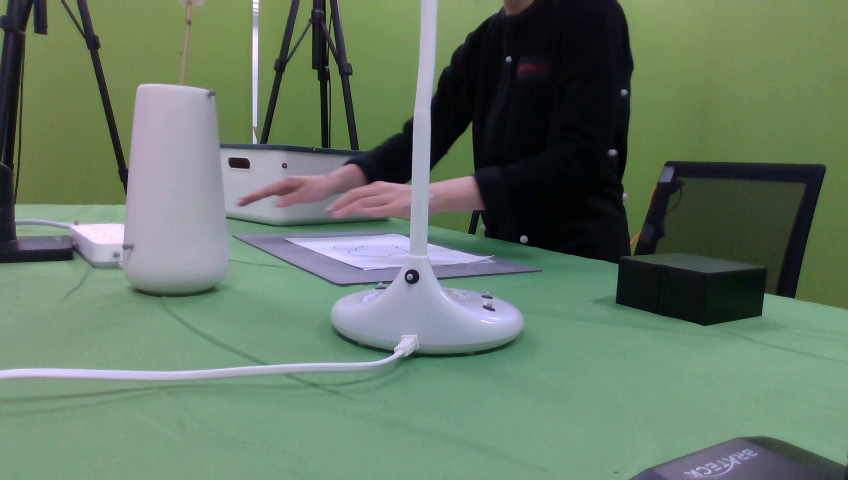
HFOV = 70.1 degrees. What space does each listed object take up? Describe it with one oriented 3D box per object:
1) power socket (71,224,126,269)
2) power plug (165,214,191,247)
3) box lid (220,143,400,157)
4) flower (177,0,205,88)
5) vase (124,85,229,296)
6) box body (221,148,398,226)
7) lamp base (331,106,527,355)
[{"bbox_3d":[-0.409,0.004,0.792,0.072,0.032,0.225,-2,8,-37],"label":"power socket"},{"bbox_3d":[-0.364,-0.009,0.910,0.035,0.052,0.072,9,-19,-2],"label":"power plug"},{"bbox_3d":[-0.263,-0.202,1.369,0.262,0.015,0.373,8,9,39],"label":"box lid"},{"bbox_3d":[-0.243,-0.131,0.609,0.044,0.361,0.038,-5,-12,12],"label":"flower"},{"bbox_3d":[-0.244,-0.047,0.598,0.098,0.200,0.098,3,8,0],"label":"vase"},{"bbox_3d":[-0.264,-0.129,1.380,0.253,0.160,0.366,8,9,39],"label":"box body"},{"bbox_3d":[0.006,-0.012,0.478,0.161,0.180,0.179,2,10,2],"label":"lamp base"}]
